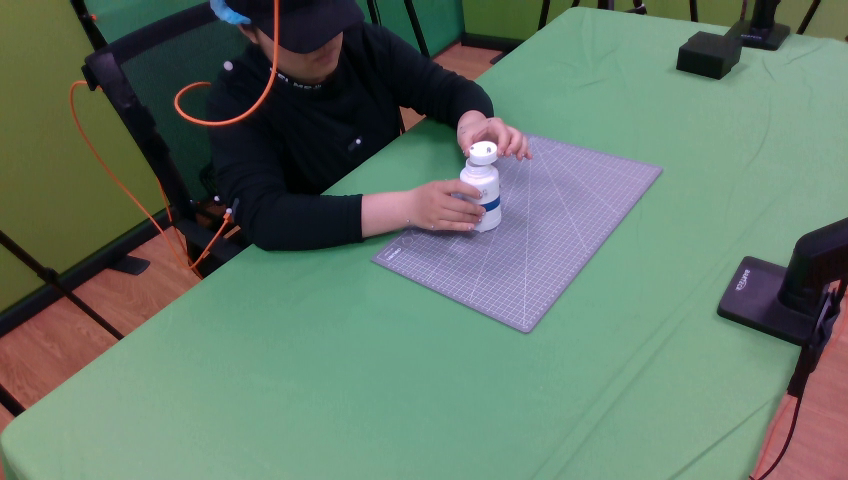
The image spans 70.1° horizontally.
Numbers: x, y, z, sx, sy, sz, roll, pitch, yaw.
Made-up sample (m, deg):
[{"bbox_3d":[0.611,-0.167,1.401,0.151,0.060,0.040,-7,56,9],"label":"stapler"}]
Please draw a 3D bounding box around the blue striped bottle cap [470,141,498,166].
[{"bbox_3d":[0.092,-0.134,0.931,0.044,0.021,0.044,-5,42,5],"label":"blue striped bottle cap"}]

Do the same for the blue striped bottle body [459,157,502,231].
[{"bbox_3d":[0.092,-0.078,0.977,0.063,0.121,0.063,-6,40,6],"label":"blue striped bottle body"}]
